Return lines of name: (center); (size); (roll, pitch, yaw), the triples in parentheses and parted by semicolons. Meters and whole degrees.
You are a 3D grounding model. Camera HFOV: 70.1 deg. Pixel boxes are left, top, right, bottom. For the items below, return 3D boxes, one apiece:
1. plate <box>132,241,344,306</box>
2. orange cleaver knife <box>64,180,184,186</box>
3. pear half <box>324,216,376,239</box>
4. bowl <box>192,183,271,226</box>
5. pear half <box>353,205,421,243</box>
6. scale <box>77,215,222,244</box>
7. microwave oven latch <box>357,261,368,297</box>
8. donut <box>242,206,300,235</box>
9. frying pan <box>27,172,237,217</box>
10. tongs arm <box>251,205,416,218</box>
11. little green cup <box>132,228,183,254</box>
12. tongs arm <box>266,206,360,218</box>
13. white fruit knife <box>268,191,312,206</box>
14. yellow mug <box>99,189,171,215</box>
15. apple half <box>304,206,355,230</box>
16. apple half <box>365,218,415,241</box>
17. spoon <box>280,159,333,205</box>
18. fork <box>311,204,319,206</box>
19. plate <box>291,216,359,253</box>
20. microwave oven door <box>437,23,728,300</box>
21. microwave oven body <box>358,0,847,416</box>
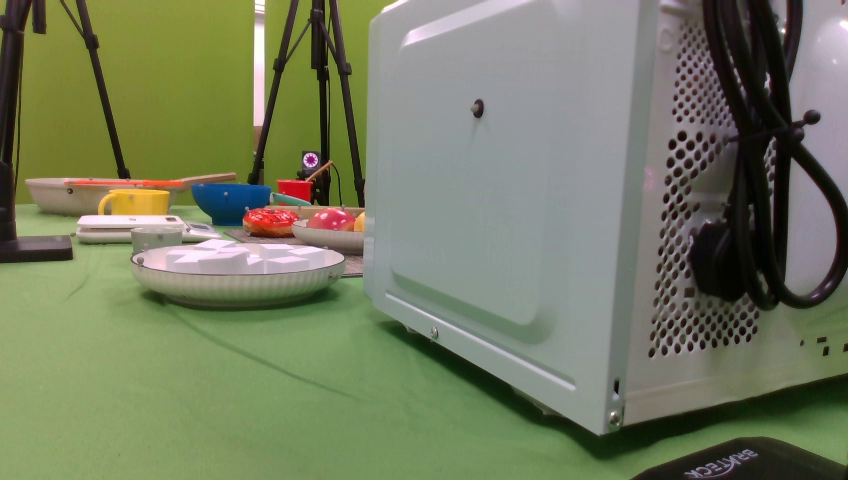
plate: (-0.187, 0.033, 0.625); (0.208, 0.039, 0.207); (2, 8, 0)
orange cleaver knife: (-0.595, -0.114, 1.212); (0.212, 0.012, 0.077); (-4, 6, -41)
pear half: (-0.119, -0.023, 0.996); (0.088, 0.031, 0.070); (-4, 23, -29)
bowl: (-0.382, -0.071, 1.202); (0.151, 0.077, 0.151); (3, 7, 0)
pear half: (-0.051, -0.024, 0.905); (0.110, 0.056, 0.076); (0, -2, -38)
scale: (-0.434, -0.019, 0.963); (0.202, 0.031, 0.148); (-1, 9, -27)
microwave oven latch: (-0.019, 0.033, 0.531); (0.079, 0.029, 0.030); (-1, 7, -27)
donut: (-0.263, -0.032, 1.039); (0.099, 0.048, 0.099); (4, 10, 0)
frying pan: (-0.624, -0.118, 1.387); (0.305, 0.102, 0.490); (8, 17, 32)
tongs arm: (-0.210, -0.067, 1.440); (0.389, 0.027, 0.028); (0, -1, -17)
little green cup: (-0.342, 0.006, 0.779); (0.061, 0.038, 0.061); (2, 8, 0)
tongs arm: (-0.173, -0.061, 1.362); (0.387, 0.026, 0.050); (-1, 3, -31)
white fruit knife: (-0.364, -0.105, 1.464); (0.208, 0.027, 0.016); (15, -1, -34)
yellow mug: (-0.519, -0.055, 1.080); (0.099, 0.064, 0.131); (7, 9, 26)
apple half: (-0.138, -0.025, 0.917); (0.081, 0.053, 0.074); (0, 10, -43)
apple half: (-0.053, -0.019, 0.966); (0.081, 0.033, 0.081); (-3, 11, 1)
spoon: (-0.317, -0.159, 1.640); (0.194, 0.022, 0.041); (-49, 32, -20)
fork: (-0.356, -0.105, 1.526); (0.208, 0.018, 0.028); (16, -5, -41)
plate: (-0.103, -0.009, 0.945); (0.209, 0.038, 0.209); (2, 8, 0)
microwave oven door: (0.180, -0.072, 0.621); (0.358, 0.243, 0.039); (-2, 8, -29)
microwave oven body: (0.211, -0.047, 0.475); (0.444, 0.260, 0.324); (-1, 7, -28)
